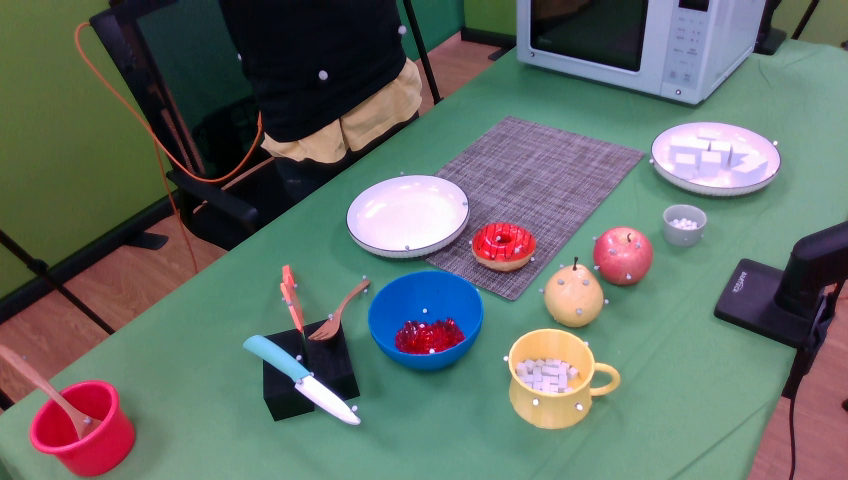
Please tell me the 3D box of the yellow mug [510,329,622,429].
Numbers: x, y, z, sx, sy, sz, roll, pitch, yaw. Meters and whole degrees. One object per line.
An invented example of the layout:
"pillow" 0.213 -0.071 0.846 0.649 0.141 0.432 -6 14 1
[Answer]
"yellow mug" 0.168 0.164 0.722 0.130 0.064 0.099 0 40 8

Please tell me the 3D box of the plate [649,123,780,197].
"plate" 0.497 -0.135 1.046 0.207 0.039 0.206 -4 40 4

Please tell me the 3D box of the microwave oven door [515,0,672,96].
"microwave oven door" 0.343 -0.454 1.259 0.353 0.245 0.039 26 51 33

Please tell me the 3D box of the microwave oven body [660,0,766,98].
"microwave oven body" 0.472 -0.513 1.317 0.438 0.261 0.327 26 51 34

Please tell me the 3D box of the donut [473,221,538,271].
"donut" 0.123 0.008 0.923 0.099 0.048 0.098 -4 38 3

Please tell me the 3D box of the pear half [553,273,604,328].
"pear half" 0.208 0.086 0.791 0.071 0.088 0.031 -14 39 -15

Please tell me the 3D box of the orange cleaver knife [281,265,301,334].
"orange cleaver knife" -0.189 0.081 0.862 0.012 0.077 0.210 -19 12 -10

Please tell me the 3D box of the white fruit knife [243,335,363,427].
"white fruit knife" -0.148 0.167 0.729 0.206 0.016 0.027 27 80 31

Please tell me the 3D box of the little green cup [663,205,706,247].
"little green cup" 0.396 -0.021 0.926 0.061 0.039 0.061 -4 40 4

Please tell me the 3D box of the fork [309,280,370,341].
"fork" -0.109 0.093 0.832 0.028 0.018 0.207 -5 19 15

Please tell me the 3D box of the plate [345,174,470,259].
"plate" -0.026 -0.036 1.004 0.209 0.038 0.208 -4 40 4

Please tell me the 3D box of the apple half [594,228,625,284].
"apple half" 0.259 0.026 0.864 0.033 0.081 0.081 -3 40 0

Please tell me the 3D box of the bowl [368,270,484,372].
"bowl" 0.006 0.118 0.792 0.151 0.077 0.150 -5 40 4

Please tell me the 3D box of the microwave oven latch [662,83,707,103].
"microwave oven latch" 0.517 -0.296 1.204 0.078 0.029 0.030 27 52 35

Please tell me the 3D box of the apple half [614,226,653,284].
"apple half" 0.298 0.023 0.864 0.053 0.075 0.080 -3 37 1

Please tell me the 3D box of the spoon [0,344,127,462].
"spoon" -0.433 0.191 0.721 0.194 0.021 0.042 48 54 -7

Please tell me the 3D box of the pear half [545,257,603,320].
"pear half" 0.197 0.056 0.811 0.076 0.110 0.055 -14 41 -13
